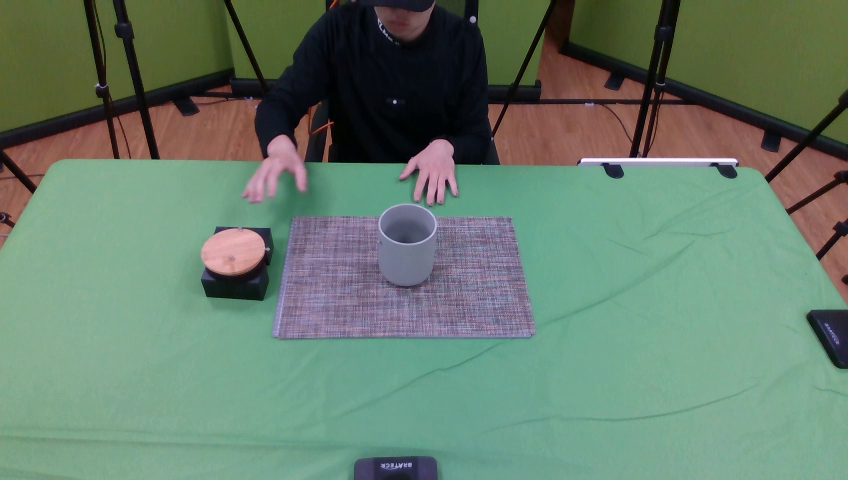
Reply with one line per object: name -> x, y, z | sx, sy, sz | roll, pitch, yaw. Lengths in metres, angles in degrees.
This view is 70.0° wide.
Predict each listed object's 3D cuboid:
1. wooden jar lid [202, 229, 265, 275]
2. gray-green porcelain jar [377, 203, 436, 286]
wooden jar lid -> -0.340, 0.023, 1.084 | 0.108, 0.021, 0.107 | 3, 45, -2
gray-green porcelain jar -> -0.033, 0.014, 1.106 | 0.106, 0.127, 0.105 | 2, 46, -2
